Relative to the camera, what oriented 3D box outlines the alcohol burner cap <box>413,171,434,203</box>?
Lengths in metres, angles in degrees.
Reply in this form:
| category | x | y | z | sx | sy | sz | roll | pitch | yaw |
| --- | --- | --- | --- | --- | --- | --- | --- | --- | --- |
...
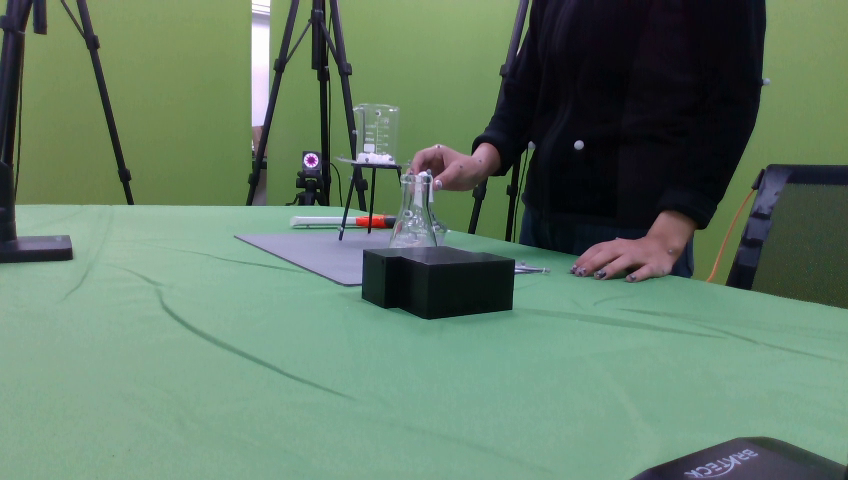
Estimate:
| category | x | y | z | sx | sy | sz | roll | pitch | yaw |
| --- | --- | --- | --- | --- | --- | --- | --- | --- | --- |
| alcohol burner cap | -0.001 | -0.079 | 0.897 | 0.034 | 0.048 | 0.034 | 1 | 5 | 0 |

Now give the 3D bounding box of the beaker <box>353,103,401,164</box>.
| category | x | y | z | sx | sy | sz | roll | pitch | yaw |
| --- | --- | --- | --- | --- | --- | --- | --- | --- | --- |
| beaker | -0.084 | -0.183 | 1.046 | 0.084 | 0.100 | 0.074 | 4 | 6 | 3 |

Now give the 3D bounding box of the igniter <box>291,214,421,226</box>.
| category | x | y | z | sx | sy | sz | roll | pitch | yaw |
| --- | --- | --- | --- | --- | --- | --- | --- | --- | --- |
| igniter | -0.135 | -0.041 | 1.250 | 0.278 | 0.025 | 0.057 | -1 | -3 | -28 |

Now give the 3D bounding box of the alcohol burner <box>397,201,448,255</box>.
| category | x | y | z | sx | sy | sz | roll | pitch | yaw |
| --- | --- | --- | --- | --- | --- | --- | --- | --- | --- |
| alcohol burner | -0.001 | -0.037 | 0.903 | 0.078 | 0.119 | 0.078 | 4 | 9 | 0 |

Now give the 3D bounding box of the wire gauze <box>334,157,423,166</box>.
| category | x | y | z | sx | sy | sz | roll | pitch | yaw |
| --- | --- | --- | --- | --- | --- | --- | --- | --- | --- |
| wire gauze | -0.081 | -0.135 | 1.051 | 0.122 | 0.011 | 0.124 | 2 | 5 | -30 |

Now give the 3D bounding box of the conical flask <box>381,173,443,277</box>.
| category | x | y | z | sx | sy | sz | roll | pitch | yaw |
| --- | --- | --- | --- | --- | --- | --- | --- | --- | --- |
| conical flask | -0.012 | -0.020 | 0.731 | 0.075 | 0.122 | 0.075 | 2 | 7 | 0 |

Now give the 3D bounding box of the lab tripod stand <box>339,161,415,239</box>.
| category | x | y | z | sx | sy | sz | roll | pitch | yaw |
| --- | --- | --- | --- | --- | --- | --- | --- | --- | --- |
| lab tripod stand | -0.082 | -0.070 | 1.059 | 0.148 | 0.131 | 0.148 | 4 | 6 | 0 |

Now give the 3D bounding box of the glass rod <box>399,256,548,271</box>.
| category | x | y | z | sx | sy | sz | roll | pitch | yaw |
| --- | --- | --- | --- | --- | --- | --- | --- | --- | --- |
| glass rod | 0.064 | 0.030 | 0.806 | 0.199 | 0.008 | 0.008 | 4 | 7 | 10 |
